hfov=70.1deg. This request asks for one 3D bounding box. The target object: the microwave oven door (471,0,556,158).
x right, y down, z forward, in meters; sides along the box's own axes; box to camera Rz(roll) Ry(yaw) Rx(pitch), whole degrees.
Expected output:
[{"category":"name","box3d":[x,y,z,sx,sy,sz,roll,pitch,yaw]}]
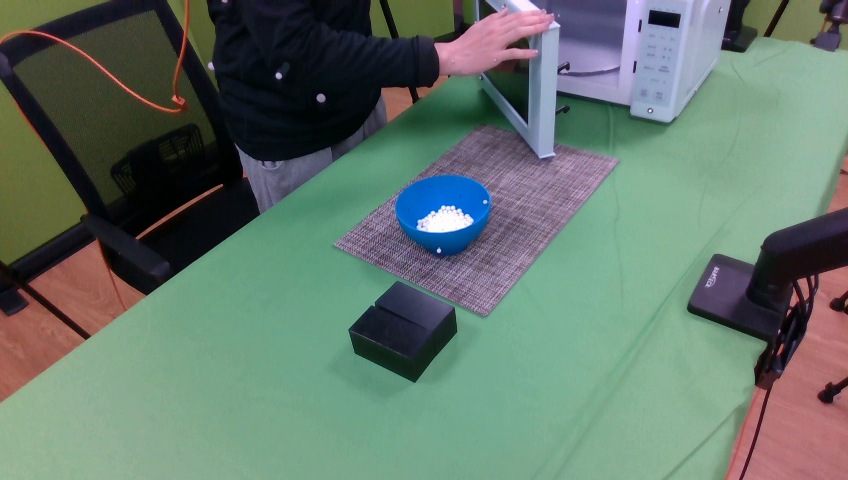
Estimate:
[{"category":"microwave oven door","box3d":[0.166,-0.348,1.156,0.039,0.245,0.353,-15,41,-8]}]

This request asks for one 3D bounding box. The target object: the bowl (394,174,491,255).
[{"category":"bowl","box3d":[0.032,-0.030,0.949,0.151,0.077,0.150,-4,40,4]}]

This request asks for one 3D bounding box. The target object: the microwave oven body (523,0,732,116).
[{"category":"microwave oven body","box3d":[0.377,-0.462,1.267,0.438,0.261,0.327,21,49,30]}]

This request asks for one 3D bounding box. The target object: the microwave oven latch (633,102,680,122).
[{"category":"microwave oven latch","box3d":[0.443,-0.249,1.157,0.078,0.029,0.030,21,49,30]}]
